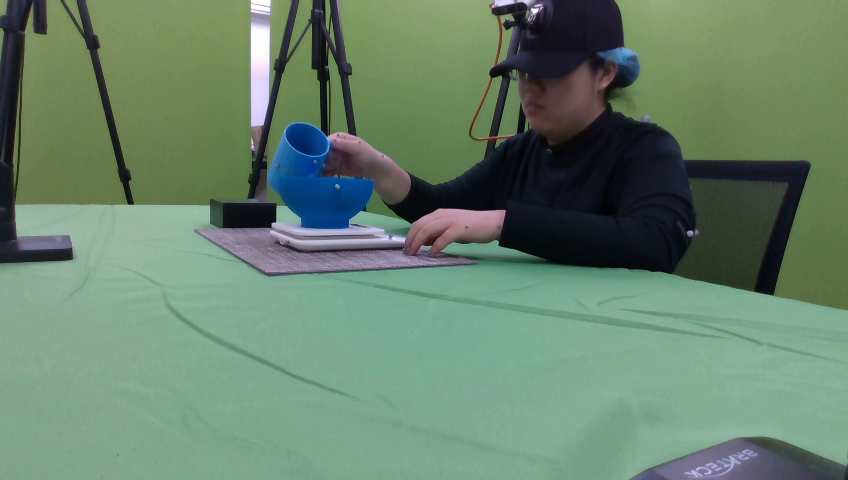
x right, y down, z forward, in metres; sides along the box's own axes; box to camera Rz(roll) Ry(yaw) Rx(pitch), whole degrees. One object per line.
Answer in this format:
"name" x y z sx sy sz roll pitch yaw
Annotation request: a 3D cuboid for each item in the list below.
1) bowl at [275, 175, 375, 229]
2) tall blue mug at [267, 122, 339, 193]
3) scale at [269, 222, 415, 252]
"bowl" -0.152 -0.059 0.932 0.151 0.077 0.151 2 6 0
"tall blue mug" -0.205 -0.141 1.024 0.078 0.107 0.107 37 44 0
"scale" -0.130 -0.008 0.958 0.202 0.031 0.148 -1 9 -32
